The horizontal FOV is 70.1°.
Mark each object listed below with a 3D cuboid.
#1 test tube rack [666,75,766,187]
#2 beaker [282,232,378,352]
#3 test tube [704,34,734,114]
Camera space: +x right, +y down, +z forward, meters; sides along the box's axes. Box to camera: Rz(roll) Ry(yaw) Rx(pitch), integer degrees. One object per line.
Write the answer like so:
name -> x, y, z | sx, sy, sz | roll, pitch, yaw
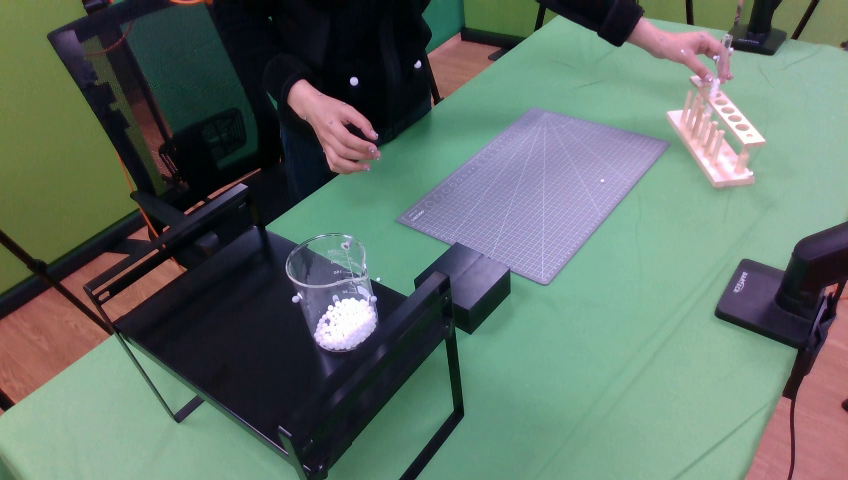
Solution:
test tube rack -> 0.512, -0.201, 1.082 | 0.067, 0.085, 0.241 | -5, 41, 2
beaker -> -0.084, 0.054, 0.587 | 0.083, 0.101, 0.074 | 17, 47, 25
test tube -> 0.517, -0.287, 1.063 | 0.017, 0.151, 0.017 | -3, 42, 3
